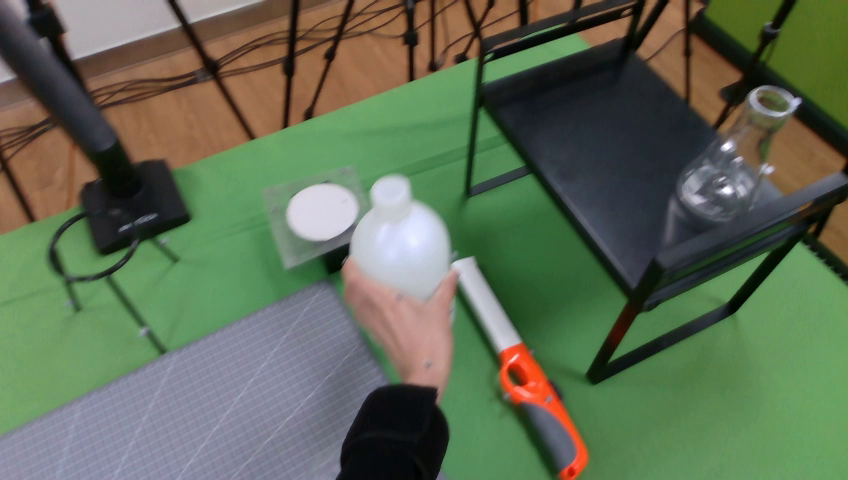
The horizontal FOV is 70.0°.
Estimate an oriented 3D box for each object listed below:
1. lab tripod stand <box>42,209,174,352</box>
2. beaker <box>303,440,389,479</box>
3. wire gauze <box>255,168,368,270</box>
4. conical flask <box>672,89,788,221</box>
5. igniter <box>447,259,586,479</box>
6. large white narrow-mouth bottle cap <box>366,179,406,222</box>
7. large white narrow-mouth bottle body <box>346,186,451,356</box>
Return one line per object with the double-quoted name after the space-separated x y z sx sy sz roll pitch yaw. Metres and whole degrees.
-0.339 0.043 0.668 0.148 0.132 0.147 2 55 -2 "lab tripod stand"
-0.071 0.239 0.556 0.084 0.101 0.073 -25 59 -16 "beaker"
-0.133 -0.032 0.740 0.121 0.011 0.124 -19 58 -14 "wire gauze"
0.282 -0.079 0.553 0.075 0.123 0.074 0 55 0 "conical flask"
0.099 0.133 0.680 0.057 0.025 0.273 -15 56 -23 "igniter"
-0.035 -0.036 0.555 0.038 0.024 0.037 -3 45 4 "large white narrow-mouth bottle cap"
-0.027 0.026 0.615 0.102 0.196 0.101 -4 45 4 "large white narrow-mouth bottle body"
